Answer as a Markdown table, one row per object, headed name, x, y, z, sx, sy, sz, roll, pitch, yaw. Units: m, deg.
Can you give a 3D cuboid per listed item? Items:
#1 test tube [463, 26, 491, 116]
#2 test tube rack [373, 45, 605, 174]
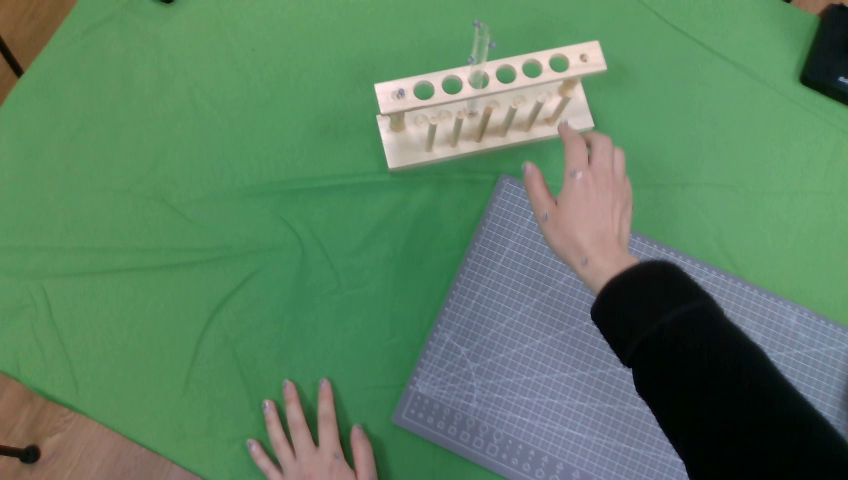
| name | x | y | z | sx | sy | sz | roll | pitch | yaw |
| --- | --- | --- | --- | --- | --- | --- | --- | --- | --- |
| test tube | 0.052 | -0.166 | 0.616 | 0.017 | 0.151 | 0.017 | 0 | 73 | 0 |
| test tube rack | 0.071 | -0.141 | 0.662 | 0.242 | 0.085 | 0.066 | -12 | 77 | -6 |
